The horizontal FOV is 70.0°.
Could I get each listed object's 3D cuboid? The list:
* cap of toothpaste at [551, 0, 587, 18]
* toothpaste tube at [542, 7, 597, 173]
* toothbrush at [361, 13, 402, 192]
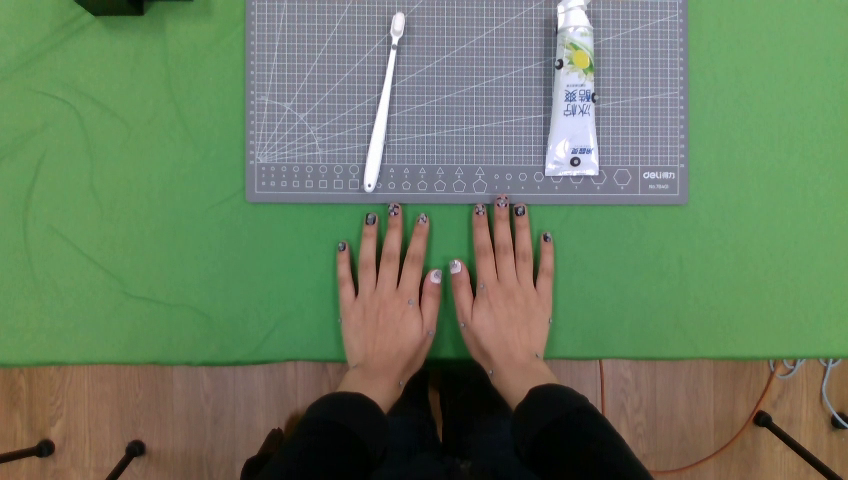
[{"bbox_3d":[0.146,-0.232,0.605,0.037,0.037,0.011,-13,86,-2],"label":"cap of toothpaste"},{"bbox_3d":[0.146,-0.150,0.610,0.055,0.034,0.165,-1,93,5],"label":"toothpaste tube"},{"bbox_3d":[-0.042,-0.138,0.607,0.014,0.016,0.182,10,91,-16],"label":"toothbrush"}]
